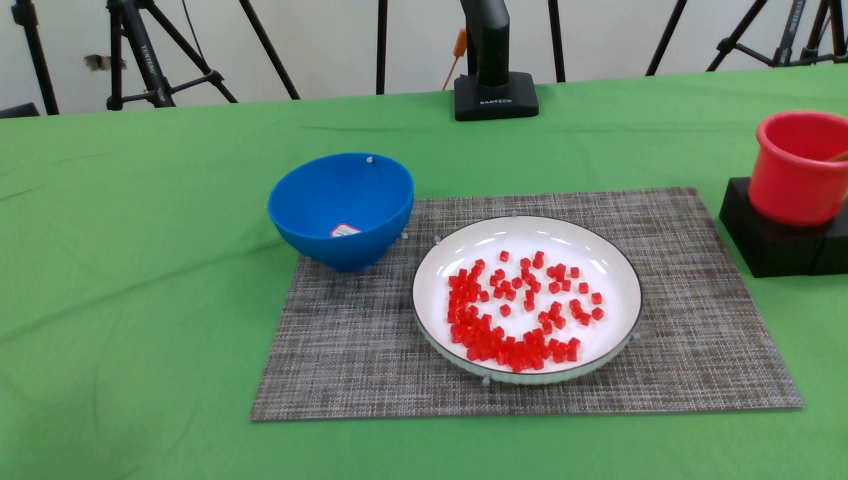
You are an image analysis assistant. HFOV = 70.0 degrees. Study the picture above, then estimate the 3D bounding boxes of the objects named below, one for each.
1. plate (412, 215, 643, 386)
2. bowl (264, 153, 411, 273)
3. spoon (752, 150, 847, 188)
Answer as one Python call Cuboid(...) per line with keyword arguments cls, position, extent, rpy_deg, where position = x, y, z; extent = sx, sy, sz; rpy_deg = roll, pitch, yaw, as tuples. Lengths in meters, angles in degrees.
Cuboid(cls="plate", position=(0.094, 0.054, 0.565), extent=(0.207, 0.039, 0.205), rpy_deg=(-3, 40, 3))
Cuboid(cls="bowl", position=(-0.084, -0.019, 0.641), extent=(0.151, 0.077, 0.150), rpy_deg=(-3, 40, 3))
Cuboid(cls="spoon", position=(0.373, -0.072, 0.525), extent=(0.041, 0.193, 0.021), rpy_deg=(-26, 90, -22))
